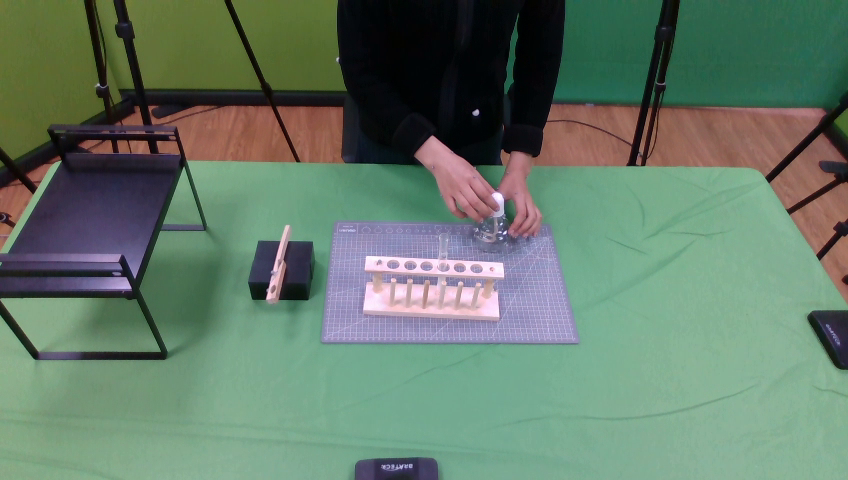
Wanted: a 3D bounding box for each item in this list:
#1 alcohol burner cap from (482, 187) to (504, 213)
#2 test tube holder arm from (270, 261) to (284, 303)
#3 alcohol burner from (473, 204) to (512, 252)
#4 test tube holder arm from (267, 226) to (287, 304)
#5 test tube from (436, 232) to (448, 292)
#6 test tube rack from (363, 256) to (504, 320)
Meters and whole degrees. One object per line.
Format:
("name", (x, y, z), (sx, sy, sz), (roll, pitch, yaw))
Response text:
("alcohol burner cap", (0.132, -0.078, 1.137), (0.034, 0.048, 0.033), (16, 44, -16))
("test tube holder arm", (-0.253, 0.071, 1.045), (0.010, 0.015, 0.087), (-4, 46, 1))
("alcohol burner", (0.135, -0.034, 1.174), (0.078, 0.120, 0.077), (1, 47, -1))
("test tube holder arm", (-0.260, 0.040, 1.077), (0.013, 0.015, 0.177), (-5, 46, 0))
("test tube", (0.030, 0.042, 1.042), (0.017, 0.151, 0.017), (1, 48, -1))
("test tube rack", (0.015, 0.085, 1.069), (0.242, 0.085, 0.066), (3, 46, -2))
